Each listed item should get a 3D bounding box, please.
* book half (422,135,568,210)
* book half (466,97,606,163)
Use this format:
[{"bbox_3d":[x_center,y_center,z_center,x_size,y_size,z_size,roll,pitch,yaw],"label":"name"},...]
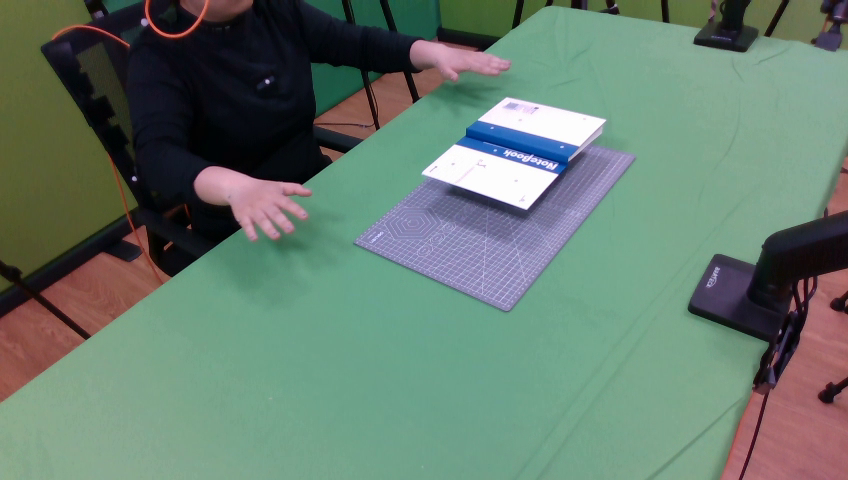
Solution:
[{"bbox_3d":[0.119,-0.121,1.027,0.208,0.007,0.143,22,49,30],"label":"book half"},{"bbox_3d":[0.203,-0.207,1.105,0.208,0.016,0.149,22,47,31],"label":"book half"}]
